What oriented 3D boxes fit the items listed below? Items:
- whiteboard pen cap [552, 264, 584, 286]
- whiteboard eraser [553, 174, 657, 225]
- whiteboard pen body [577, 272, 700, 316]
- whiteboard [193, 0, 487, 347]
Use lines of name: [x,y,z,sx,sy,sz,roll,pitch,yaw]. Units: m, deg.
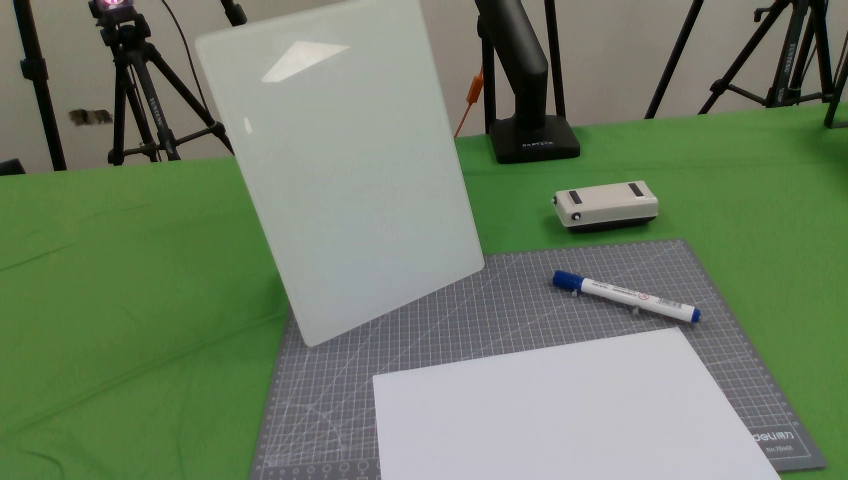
whiteboard pen cap: [0.154,0.038,0.638,0.033,0.018,0.018,17,43,25]
whiteboard eraser: [0.217,-0.047,0.729,0.113,0.042,0.055,-6,39,-2]
whiteboard pen body: [0.203,0.051,0.611,0.140,0.017,0.017,15,41,27]
whiteboard: [-0.090,-0.084,0.648,0.217,0.307,0.142,-23,20,-21]
